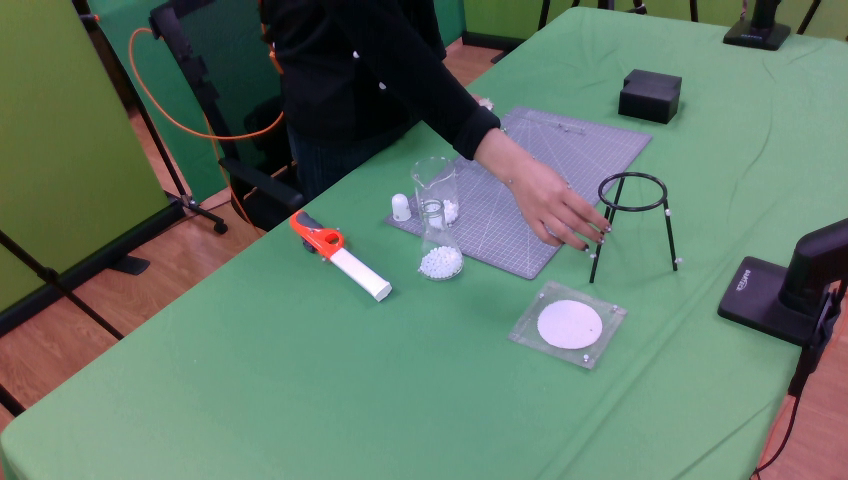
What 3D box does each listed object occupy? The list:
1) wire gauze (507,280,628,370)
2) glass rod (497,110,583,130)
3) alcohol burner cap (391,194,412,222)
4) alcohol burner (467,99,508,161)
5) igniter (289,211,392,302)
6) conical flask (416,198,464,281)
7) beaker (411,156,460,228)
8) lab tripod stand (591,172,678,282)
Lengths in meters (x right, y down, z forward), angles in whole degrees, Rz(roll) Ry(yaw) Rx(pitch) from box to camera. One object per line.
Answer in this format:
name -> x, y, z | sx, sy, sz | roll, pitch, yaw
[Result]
wire gauze -> 0.196, 0.114, 0.823 | 0.120, 0.011, 0.125 | 20, 50, 31
glass rod -> 0.233, -0.245, 1.235 | 0.198, 0.008, 0.008 | 20, 49, 34
alcohol burner cap -> -0.041, -0.057, 1.040 | 0.034, 0.048, 0.033 | -5, 41, 5
alcohol burner -> 0.119, -0.210, 1.134 | 0.078, 0.119, 0.077 | -4, 39, 4
igniter -> -0.145, 0.019, 0.986 | 0.057, 0.025, 0.274 | -40, 48, -18
conical flask -> 0.019, -0.004, 0.907 | 0.075, 0.122, 0.075 | -5, 40, 5
beaker -> 0.020, -0.076, 1.005 | 0.074, 0.101, 0.084 | 3, 42, 15
lab tripod stand -> 0.292, -0.022, 0.867 | 0.148, 0.132, 0.147 | -7, 39, 6
